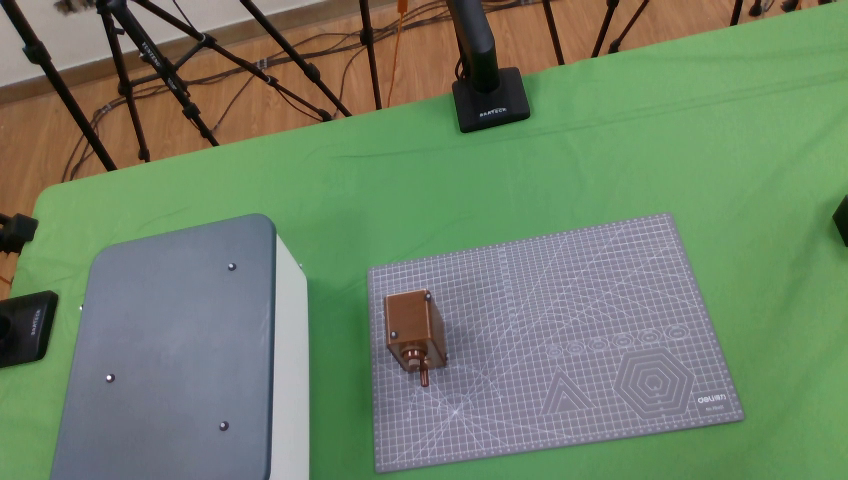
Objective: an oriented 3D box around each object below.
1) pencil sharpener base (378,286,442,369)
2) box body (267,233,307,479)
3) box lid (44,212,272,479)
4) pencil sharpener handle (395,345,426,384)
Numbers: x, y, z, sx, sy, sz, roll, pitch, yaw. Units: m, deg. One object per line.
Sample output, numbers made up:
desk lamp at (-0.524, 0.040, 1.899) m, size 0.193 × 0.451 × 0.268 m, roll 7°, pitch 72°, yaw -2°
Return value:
pencil sharpener base at (-0.016, 0.119, 0.789) m, size 0.061 × 0.108 × 0.076 m, roll -10°, pitch 59°, yaw 7°
box body at (-0.296, 0.176, 0.792) m, size 0.254 × 0.162 × 0.360 m, roll -12°, pitch 58°, yaw 5°
box lid at (-0.310, 0.137, 0.730) m, size 0.263 × 0.015 × 0.367 m, roll -12°, pitch 58°, yaw 5°
pencil sharpener handle at (-0.012, 0.156, 0.752) m, size 0.036 × 0.068 × 0.030 m, roll -15°, pitch 58°, yaw 14°
